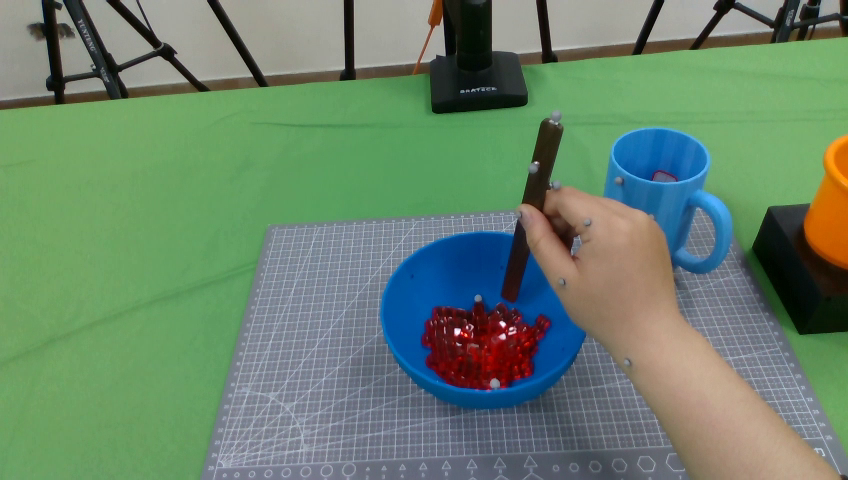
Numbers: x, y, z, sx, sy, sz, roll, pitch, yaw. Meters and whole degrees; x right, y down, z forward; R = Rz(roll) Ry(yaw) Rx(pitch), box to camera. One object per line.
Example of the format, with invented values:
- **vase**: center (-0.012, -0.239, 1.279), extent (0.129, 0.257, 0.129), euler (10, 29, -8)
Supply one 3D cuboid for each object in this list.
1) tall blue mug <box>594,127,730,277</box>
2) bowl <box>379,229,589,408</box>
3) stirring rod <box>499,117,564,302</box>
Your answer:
- **tall blue mug**: center (0.205, -0.026, 0.517), extent (0.106, 0.109, 0.077), euler (17, 49, 22)
- **bowl**: center (0.045, 0.071, 0.460), extent (0.151, 0.077, 0.150), euler (-3, 45, 3)
- **stirring rod**: center (0.068, -0.011, 0.405), extent (0.014, 0.177, 0.006), euler (27, 54, 18)
